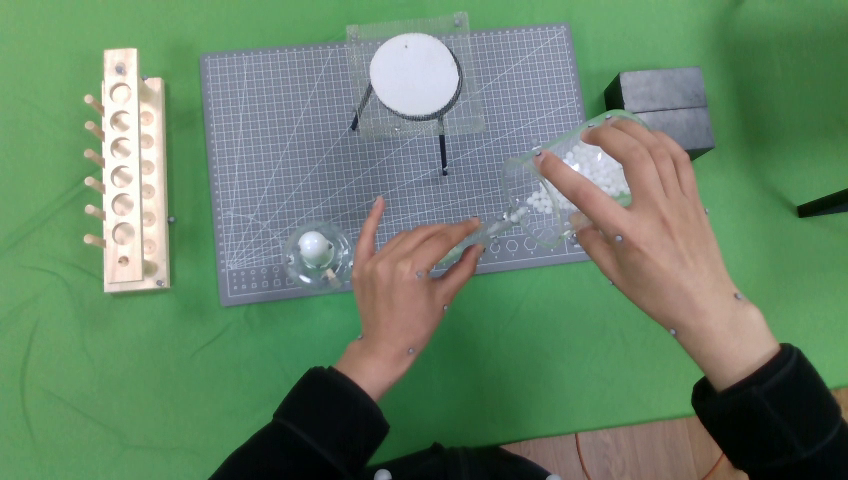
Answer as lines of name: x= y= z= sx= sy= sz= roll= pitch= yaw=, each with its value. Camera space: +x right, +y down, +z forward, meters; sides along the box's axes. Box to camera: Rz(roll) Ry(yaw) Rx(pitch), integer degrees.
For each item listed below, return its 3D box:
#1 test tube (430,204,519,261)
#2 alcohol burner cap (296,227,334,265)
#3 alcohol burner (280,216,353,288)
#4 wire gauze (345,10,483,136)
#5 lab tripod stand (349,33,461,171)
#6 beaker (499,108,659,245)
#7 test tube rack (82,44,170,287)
test tube: x=0.041 y=-0.003 z=0.551 sx=0.017 sy=0.150 sz=0.017 roll=7 pitch=72 yaw=-23
alcohol burner cap: x=-0.110 y=0.005 z=0.599 sx=0.034 sy=0.048 sz=0.033 roll=0 pitch=75 yaw=1
alcohol burner: x=-0.113 y=0.010 z=0.634 sx=0.078 sy=0.119 sz=0.077 roll=1 pitch=80 yaw=-6
wire gauze: x=-0.010 y=-0.162 z=0.591 sx=0.125 sy=0.011 sz=0.121 roll=-6 pitch=82 yaw=-6
lab tripod stand: x=-0.012 y=-0.156 z=0.658 sx=0.148 sy=0.132 sz=0.148 roll=1 pitch=79 yaw=-3
beaker: x=0.118 y=-0.050 z=0.461 sx=0.100 sy=0.084 sz=0.074 roll=-27 pitch=84 yaw=-15
test tube rack: x=-0.323 y=-0.075 z=0.646 sx=0.067 sy=0.085 sz=0.241 roll=-5 pitch=82 yaw=-5
